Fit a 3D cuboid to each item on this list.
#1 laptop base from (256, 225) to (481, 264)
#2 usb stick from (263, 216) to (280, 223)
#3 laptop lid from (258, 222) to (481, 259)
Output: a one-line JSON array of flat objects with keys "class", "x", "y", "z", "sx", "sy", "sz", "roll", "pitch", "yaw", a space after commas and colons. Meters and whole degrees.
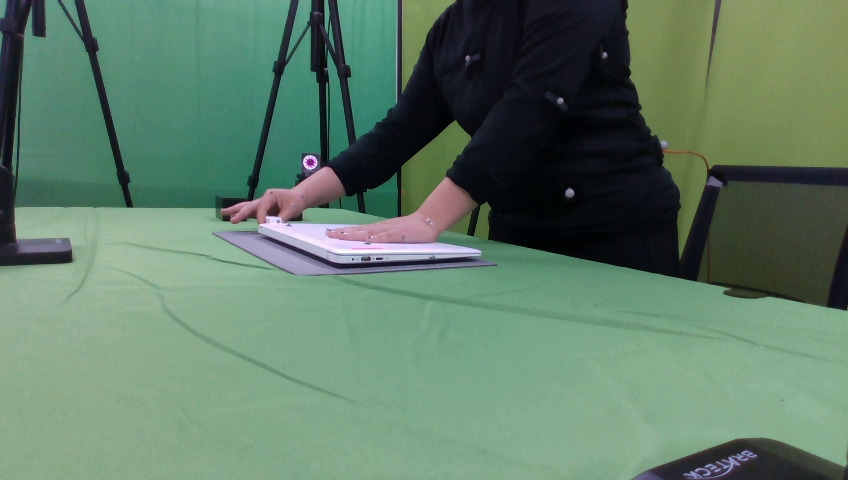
[{"class": "laptop base", "x": -0.103, "y": 0.007, "z": 0.961, "sx": 0.237, "sy": 0.023, "sz": 0.352, "roll": 3, "pitch": 6, "yaw": -32}, {"class": "usb stick", "x": -0.270, "y": -0.027, "z": 1.079, "sx": 0.021, "sy": 0.027, "sz": 0.059, "roll": -6, "pitch": 11, "yaw": -27}, {"class": "laptop lid", "x": -0.101, "y": -0.002, "z": 0.961, "sx": 0.243, "sy": 0.013, "sz": 0.355, "roll": 2, "pitch": 7, "yaw": -31}]
